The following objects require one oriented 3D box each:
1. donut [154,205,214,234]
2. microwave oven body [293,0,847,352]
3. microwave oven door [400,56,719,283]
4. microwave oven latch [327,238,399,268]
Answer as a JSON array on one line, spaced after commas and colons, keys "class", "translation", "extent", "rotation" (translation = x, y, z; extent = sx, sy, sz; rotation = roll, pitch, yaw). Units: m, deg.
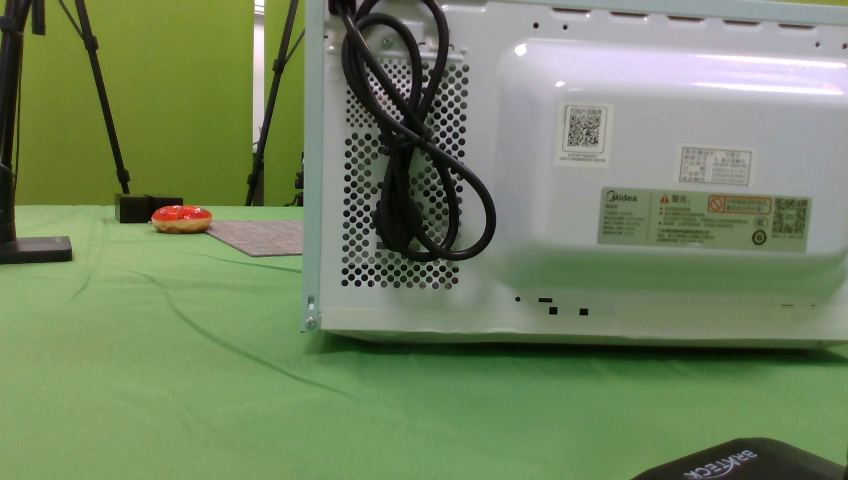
[{"class": "donut", "translation": [-0.426, -0.037, 1.075], "extent": [0.099, 0.048, 0.099], "rotation": [2, 12, 0]}, {"class": "microwave oven body", "translation": [0.122, -0.055, 0.550], "extent": [0.442, 0.260, 0.325], "rotation": [3, 7, -5]}, {"class": "microwave oven door", "translation": [0.155, -0.077, 0.697], "extent": [0.356, 0.243, 0.039], "rotation": [2, 8, -5]}, {"class": "microwave oven latch", "translation": [-0.069, 0.015, 0.694], "extent": [0.079, 0.029, 0.030], "rotation": [3, 7, -3]}]
